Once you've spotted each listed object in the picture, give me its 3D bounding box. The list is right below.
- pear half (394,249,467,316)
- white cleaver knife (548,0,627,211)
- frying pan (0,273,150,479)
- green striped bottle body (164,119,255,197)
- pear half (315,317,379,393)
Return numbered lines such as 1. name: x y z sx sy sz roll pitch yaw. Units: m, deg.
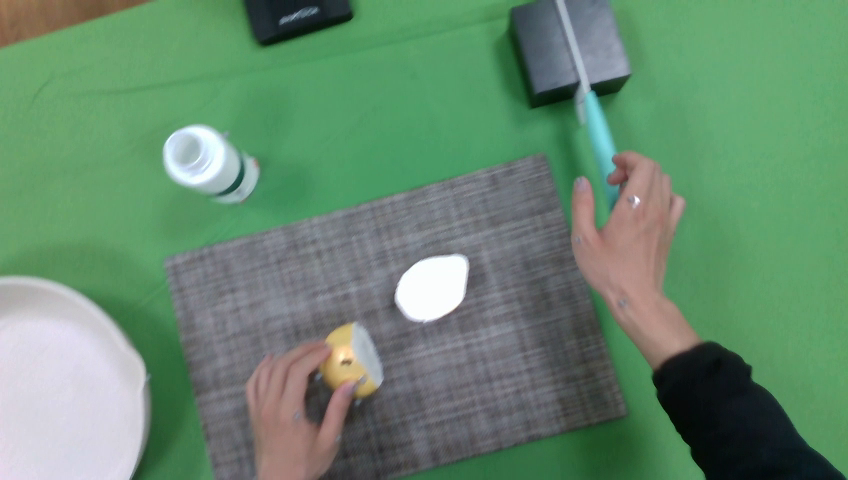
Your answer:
1. pear half: 0.011 0.047 0.655 0.088 0.031 0.070 -39 67 -13
2. white cleaver knife: 0.172 -0.169 0.656 0.021 0.066 0.285 -13 81 8
3. frying pan: -0.393 0.276 0.618 0.307 0.103 0.485 -20 75 1
4. green striped bottle body: -0.227 -0.086 0.639 0.063 0.119 0.063 0 83 3
5. pear half: -0.084 0.121 0.613 0.056 0.110 0.076 -29 79 0
